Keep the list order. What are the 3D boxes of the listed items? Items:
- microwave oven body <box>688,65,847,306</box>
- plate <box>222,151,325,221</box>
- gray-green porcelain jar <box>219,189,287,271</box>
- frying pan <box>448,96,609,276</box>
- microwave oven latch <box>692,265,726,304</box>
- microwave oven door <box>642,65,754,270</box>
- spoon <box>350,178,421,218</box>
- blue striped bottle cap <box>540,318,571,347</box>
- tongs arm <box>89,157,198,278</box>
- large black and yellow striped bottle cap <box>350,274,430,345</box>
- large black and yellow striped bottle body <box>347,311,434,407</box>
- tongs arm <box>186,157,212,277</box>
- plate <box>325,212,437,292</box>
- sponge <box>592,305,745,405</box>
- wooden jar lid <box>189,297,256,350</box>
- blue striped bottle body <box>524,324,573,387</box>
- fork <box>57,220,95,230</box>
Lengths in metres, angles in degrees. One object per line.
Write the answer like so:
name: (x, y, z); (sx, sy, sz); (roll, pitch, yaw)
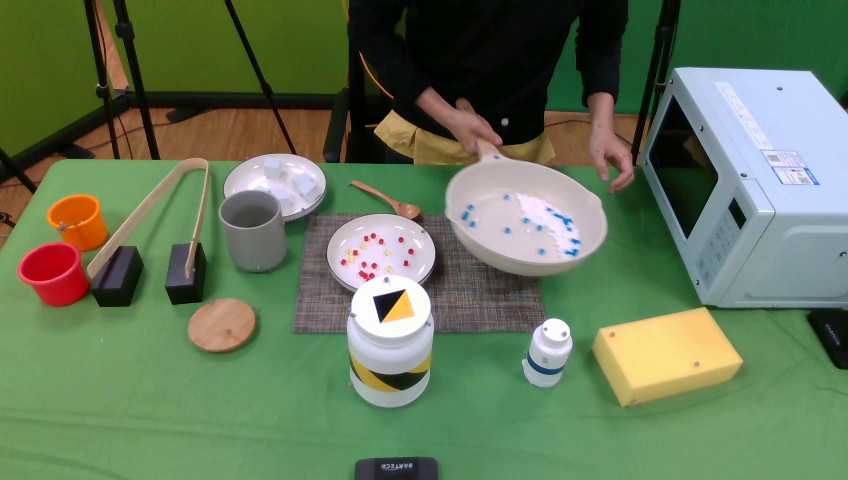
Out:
microwave oven body: (0.670, -0.111, 1.176); (0.326, 0.261, 0.439); (0, 46, -3)
plate: (-0.310, -0.106, 1.263); (0.208, 0.039, 0.206); (2, 47, -2)
gray-green porcelain jar: (-0.309, -0.014, 1.113); (0.106, 0.127, 0.105); (2, 46, -2)
frying pan: (0.155, -0.121, 1.163); (0.307, 0.103, 0.484); (-6, 53, -18)
microwave oven latch: (0.522, 0.081, 1.116); (0.030, 0.029, 0.078); (1, 46, -2)
microwave oven door: (0.526, -0.148, 1.193); (0.039, 0.245, 0.353); (-1, 47, -2)
spoon: (-0.084, -0.093, 1.272); (0.193, 0.022, 0.041); (31, 68, 25)
blue striped bottle cap: (0.203, 0.142, 0.933); (0.044, 0.021, 0.044); (3, 49, -3)
tongs arm: (-0.529, -0.058, 1.164); (0.028, 0.028, 0.385); (1, 36, 8)
large black and yellow striped bottle cap: (-0.048, 0.097, 0.868); (0.115, 0.019, 0.114); (3, 48, -3)
large black and yellow striped bottle body: (-0.052, 0.157, 0.929); (0.131, 0.185, 0.130); (2, 47, -2)
tongs arm: (-0.445, -0.058, 1.168); (0.051, 0.026, 0.382); (-5, 37, -6)
plate: (-0.080, 0.030, 1.143); (0.209, 0.038, 0.208); (3, 46, -2)
sponge: (0.405, 0.190, 1.015); (0.207, 0.061, 0.117); (-10, 48, -13)
wooden jar lid: (-0.342, 0.145, 1.033); (0.108, 0.021, 0.107); (2, 45, -2)
blue striped bottle body: (0.201, 0.178, 0.970); (0.063, 0.121, 0.062); (2, 46, -1)
fork: (-0.624, -0.027, 1.087); (0.028, 0.207, 0.018); (-3, 92, -17)
